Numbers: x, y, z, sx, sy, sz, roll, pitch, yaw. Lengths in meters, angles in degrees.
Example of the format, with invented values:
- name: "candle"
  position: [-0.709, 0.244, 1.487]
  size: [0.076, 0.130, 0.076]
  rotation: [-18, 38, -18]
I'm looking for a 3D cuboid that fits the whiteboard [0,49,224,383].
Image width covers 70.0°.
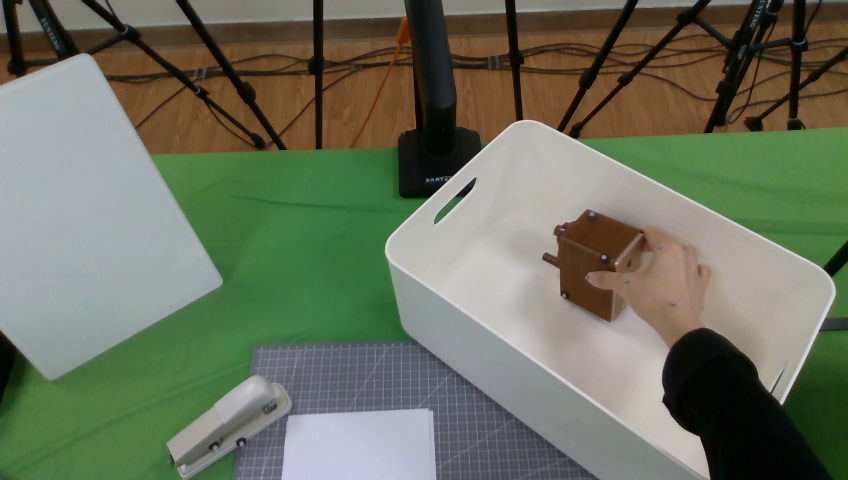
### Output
- name: "whiteboard"
  position: [-0.403, -0.038, 0.671]
  size: [0.217, 0.308, 0.142]
  rotation: [-31, 40, -19]

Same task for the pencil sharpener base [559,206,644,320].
- name: "pencil sharpener base"
  position: [0.196, 0.026, 0.686]
  size: [0.076, 0.108, 0.061]
  rotation: [29, 59, 35]

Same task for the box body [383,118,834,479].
- name: "box body"
  position: [0.171, 0.067, 0.635]
  size: [0.361, 0.162, 0.253]
  rotation: [33, 61, 22]

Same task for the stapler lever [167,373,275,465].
- name: "stapler lever"
  position: [-0.207, 0.179, 0.616]
  size: [0.118, 0.040, 0.026]
  rotation: [-32, 56, -17]

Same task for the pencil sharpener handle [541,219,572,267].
- name: "pencil sharpener handle"
  position: [0.154, -0.001, 0.703]
  size: [0.030, 0.068, 0.036]
  rotation: [29, 40, 35]

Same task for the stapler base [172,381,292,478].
- name: "stapler base"
  position: [-0.204, 0.193, 0.637]
  size: [0.130, 0.025, 0.041]
  rotation: [-33, 56, -16]

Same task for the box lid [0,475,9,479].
- name: "box lid"
  position: [-0.477, 0.389, 0.513]
  size: [0.262, 0.015, 0.369]
  rotation: [21, 57, 15]
